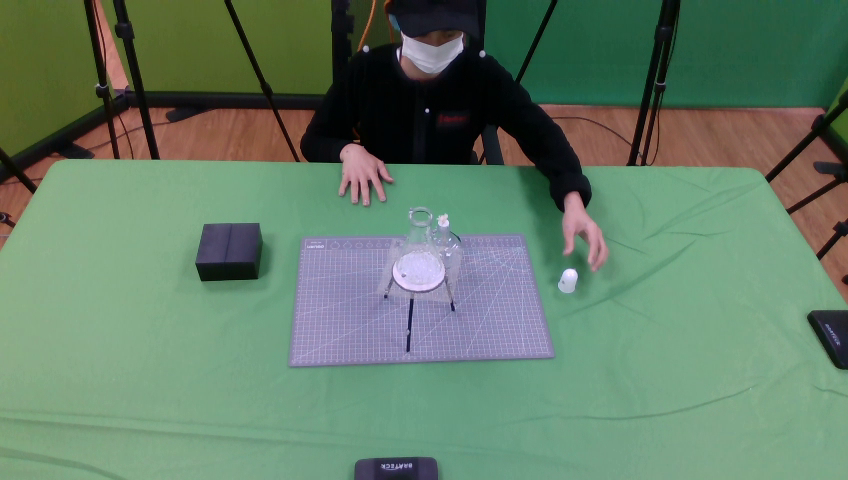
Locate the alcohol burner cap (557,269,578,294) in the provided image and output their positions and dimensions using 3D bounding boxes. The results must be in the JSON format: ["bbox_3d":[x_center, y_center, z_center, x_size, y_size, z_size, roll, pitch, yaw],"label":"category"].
[{"bbox_3d":[0.270,0.075,1.135,0.034,0.048,0.033,3,46,-3],"label":"alcohol burner cap"}]

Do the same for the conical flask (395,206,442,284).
[{"bbox_3d":[-0.007,0.005,0.937,0.075,0.122,0.075,2,45,-1],"label":"conical flask"}]

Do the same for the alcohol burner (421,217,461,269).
[{"bbox_3d":[0.033,-0.001,1.135,0.078,0.119,0.077,3,48,-3],"label":"alcohol burner"}]

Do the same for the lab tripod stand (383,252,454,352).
[{"bbox_3d":[-0.015,0.094,1.025,0.148,0.132,0.147,1,46,-1],"label":"lab tripod stand"}]

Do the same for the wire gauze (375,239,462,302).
[{"bbox_3d":[-0.006,0.049,0.977,0.121,0.011,0.124,10,44,5],"label":"wire gauze"}]
